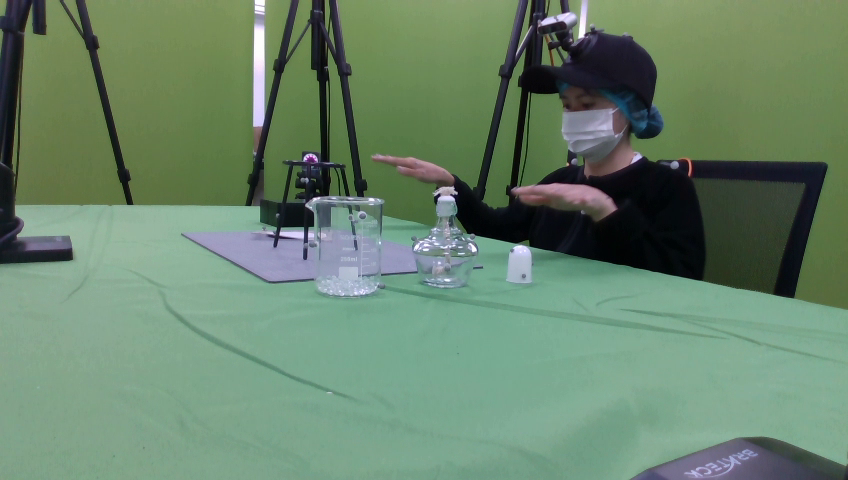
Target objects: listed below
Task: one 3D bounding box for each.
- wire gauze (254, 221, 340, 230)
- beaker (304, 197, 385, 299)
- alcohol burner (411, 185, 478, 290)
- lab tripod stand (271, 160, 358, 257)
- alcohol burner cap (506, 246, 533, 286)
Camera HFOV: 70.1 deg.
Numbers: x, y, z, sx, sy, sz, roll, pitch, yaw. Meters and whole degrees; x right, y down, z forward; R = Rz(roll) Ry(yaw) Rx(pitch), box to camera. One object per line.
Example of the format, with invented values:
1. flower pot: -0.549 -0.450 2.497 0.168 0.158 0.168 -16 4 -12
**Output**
1. wire gauze: -0.224 -0.026 1.057 0.122 0.011 0.124 -3 3 -26
2. beaker: -0.083 0.007 0.629 0.084 0.100 0.073 -1 7 -21
3. alcohol burner: 0.023 -0.004 0.697 0.078 0.119 0.078 0 7 0
4. lab tripod stand: -0.159 -0.048 0.876 0.148 0.131 0.148 3 5 0
5. alcohol burner cap: 0.118 0.032 0.739 0.034 0.048 0.034 2 7 0
